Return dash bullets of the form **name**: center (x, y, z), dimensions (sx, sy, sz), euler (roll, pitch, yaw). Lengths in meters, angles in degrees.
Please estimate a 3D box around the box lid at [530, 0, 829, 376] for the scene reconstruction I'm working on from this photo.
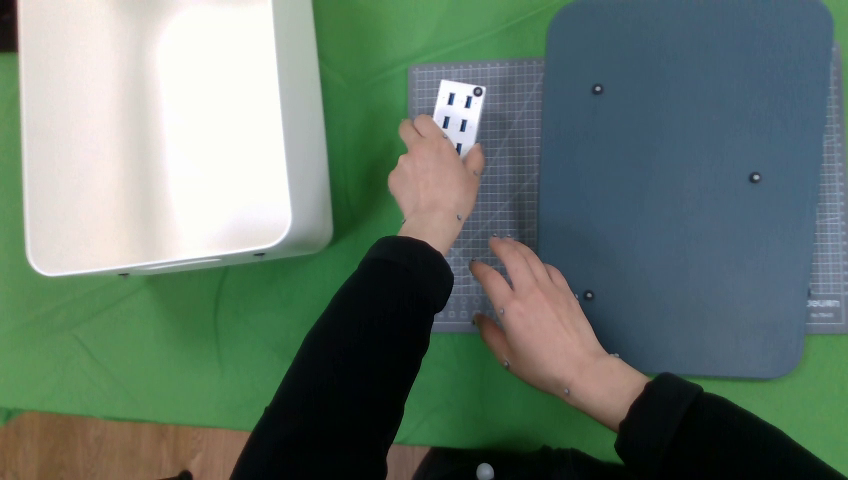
- **box lid**: center (0.241, -0.048, 0.597), dimensions (0.263, 0.015, 0.372), euler (1, 98, 8)

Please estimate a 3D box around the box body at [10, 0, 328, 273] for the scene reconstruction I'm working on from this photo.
- **box body**: center (-0.249, -0.153, 0.628), dimensions (0.254, 0.161, 0.363), euler (-7, 85, 7)

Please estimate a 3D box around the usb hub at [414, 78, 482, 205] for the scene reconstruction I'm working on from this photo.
- **usb hub**: center (0.025, -0.102, 0.630), dimensions (0.049, 0.025, 0.125), euler (11, 86, 5)
